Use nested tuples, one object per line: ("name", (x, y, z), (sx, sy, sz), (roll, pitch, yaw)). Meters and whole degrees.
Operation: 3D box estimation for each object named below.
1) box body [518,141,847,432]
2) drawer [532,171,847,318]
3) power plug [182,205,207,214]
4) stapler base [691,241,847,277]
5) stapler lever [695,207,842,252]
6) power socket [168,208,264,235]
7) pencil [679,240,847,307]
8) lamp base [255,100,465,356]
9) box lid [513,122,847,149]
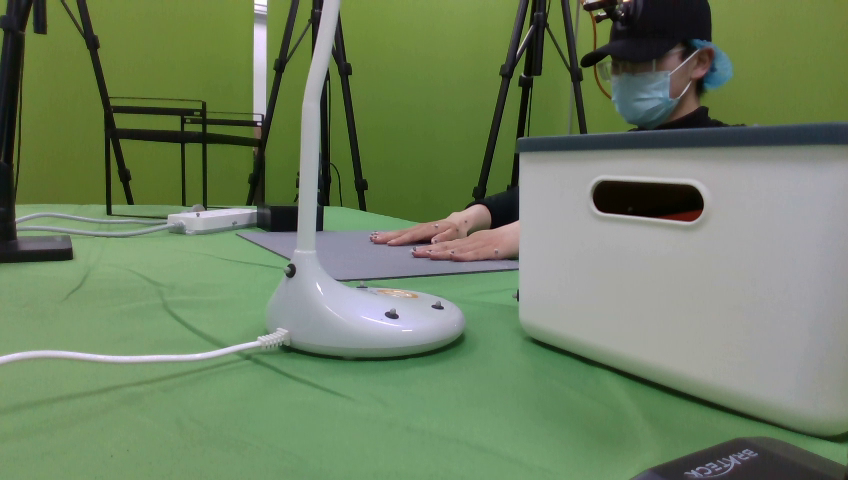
("box body", (0.278, 0.005, 0.485), (0.366, 0.160, 0.253), (-3, 9, -36))
("drawer", (0.226, 0.004, 0.467), (0.213, 0.073, 0.193), (-13, 2, -35))
("power plug", (-0.456, -0.041, 1.195), (0.052, 0.035, 0.072), (0, 39, 24))
("stapler base", (0.271, 0.014, 0.486), (0.041, 0.024, 0.130), (-14, 3, -19))
("stapler lever", (0.267, -0.010, 0.484), (0.027, 0.040, 0.117), (-14, 2, -19))
("power socket", (-0.381, -0.038, 1.129), (0.072, 0.032, 0.227), (4, 8, 17))
("pencil", (0.249, 0.019, 0.463), (0.012, 0.012, 0.193), (1, 11, -8))
("lamp base", (-0.051, -0.014, 0.466), (0.160, 0.180, 0.180), (7, 11, 34))
("box lid", (0.282, -0.068, 0.478), (0.374, 0.015, 0.262), (-3, 9, -36))
